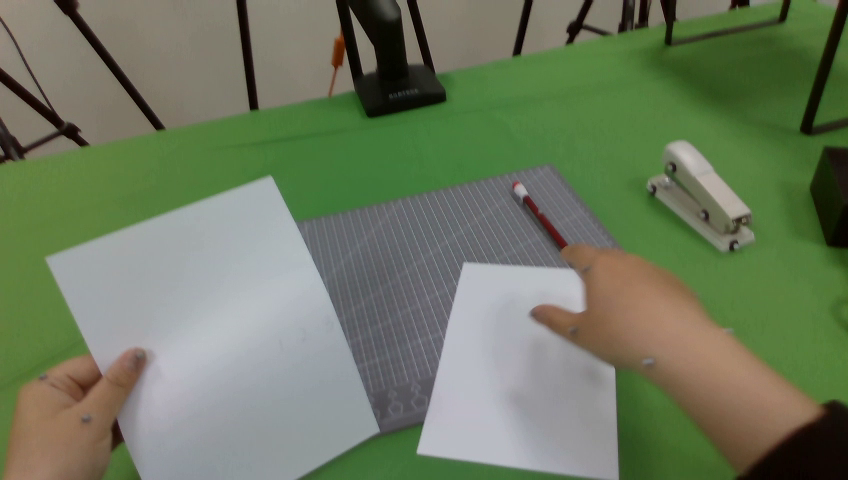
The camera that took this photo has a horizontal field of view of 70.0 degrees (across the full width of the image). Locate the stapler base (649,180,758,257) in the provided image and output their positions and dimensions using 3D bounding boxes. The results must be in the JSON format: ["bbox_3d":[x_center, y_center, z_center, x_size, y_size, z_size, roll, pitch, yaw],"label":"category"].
[{"bbox_3d":[0.286,-0.032,0.627,0.041,0.025,0.129,-19,42,-10],"label":"stapler base"}]

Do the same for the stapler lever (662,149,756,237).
[{"bbox_3d":[0.284,-0.051,0.610,0.027,0.040,0.116,-19,42,-10],"label":"stapler lever"}]

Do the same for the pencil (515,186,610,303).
[{"bbox_3d":[0.137,-0.001,0.617,0.012,0.012,0.192,-16,41,-11],"label":"pencil"}]
